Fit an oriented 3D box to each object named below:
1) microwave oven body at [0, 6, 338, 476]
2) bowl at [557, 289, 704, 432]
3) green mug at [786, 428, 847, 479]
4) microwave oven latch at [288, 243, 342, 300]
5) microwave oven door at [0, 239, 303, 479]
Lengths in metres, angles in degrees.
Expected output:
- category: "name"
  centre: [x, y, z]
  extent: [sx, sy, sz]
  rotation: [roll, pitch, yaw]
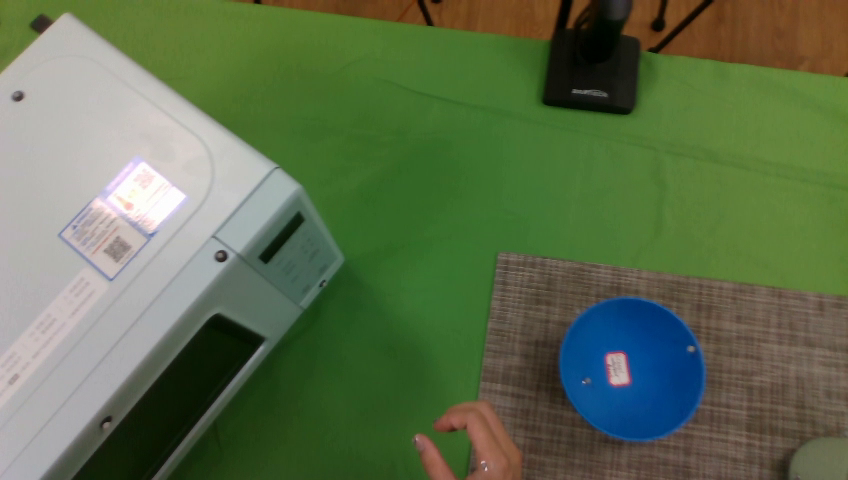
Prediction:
- category: "microwave oven body"
  centre: [-0.359, 0.057, 0.616]
  extent: [0.325, 0.261, 0.441]
  rotation: [35, 78, 11]
- category: "bowl"
  centre: [0.216, 0.135, 0.669]
  extent: [0.151, 0.077, 0.150]
  rotation: [-1, 73, 2]
- category: "green mug"
  centre: [0.440, 0.255, 0.612]
  extent: [0.092, 0.105, 0.124]
  rotation: [-9, 73, -1]
- category: "microwave oven latch"
  centre: [-0.130, 0.032, 0.717]
  extent: [0.030, 0.029, 0.079]
  rotation: [37, 79, 11]
- category: "microwave oven door"
  centre: [-0.267, 0.170, 0.575]
  extent: [0.039, 0.245, 0.355]
  rotation: [35, 78, 12]
